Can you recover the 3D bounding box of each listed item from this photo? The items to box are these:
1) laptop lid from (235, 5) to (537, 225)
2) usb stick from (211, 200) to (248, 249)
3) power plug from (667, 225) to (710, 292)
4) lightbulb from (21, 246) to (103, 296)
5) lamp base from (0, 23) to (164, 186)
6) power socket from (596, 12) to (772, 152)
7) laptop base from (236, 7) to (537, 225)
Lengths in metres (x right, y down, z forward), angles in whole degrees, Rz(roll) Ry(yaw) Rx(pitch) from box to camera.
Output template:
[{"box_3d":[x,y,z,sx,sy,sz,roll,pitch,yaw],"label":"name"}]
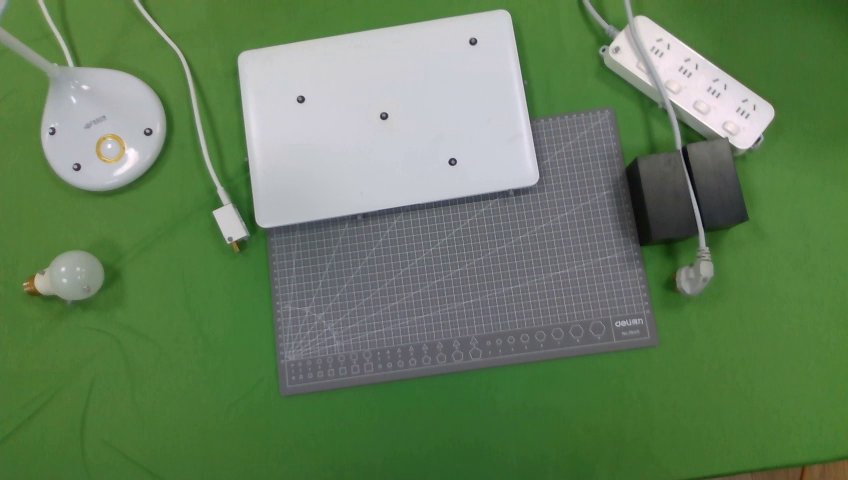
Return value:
[{"box_3d":[-0.052,-0.157,0.752,0.357,0.013,0.241,-8,82,1],"label":"laptop lid"},{"box_3d":[-0.236,-0.018,0.745,0.027,0.021,0.059,-23,90,-3],"label":"usb stick"},{"box_3d":[0.309,0.025,0.705,0.035,0.052,0.072,21,74,-20],"label":"power plug"},{"box_3d":[-0.441,0.042,0.732,0.107,0.060,0.059,-12,80,16],"label":"lightbulb"},{"box_3d":[-0.424,-0.168,0.699,0.160,0.181,0.178,-39,78,-4],"label":"lamp base"},{"box_3d":[0.320,-0.195,0.745,0.226,0.033,0.072,39,84,8],"label":"power socket"},{"box_3d":[-0.051,-0.158,0.764,0.354,0.023,0.234,-9,83,1],"label":"laptop base"}]
